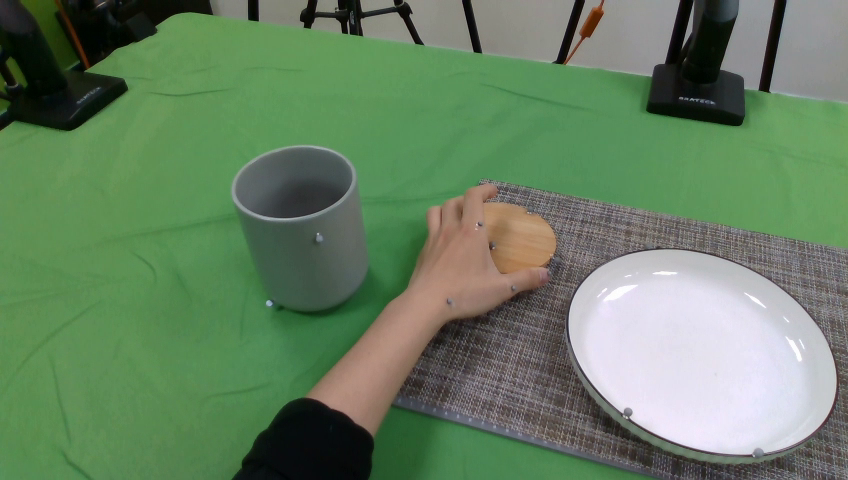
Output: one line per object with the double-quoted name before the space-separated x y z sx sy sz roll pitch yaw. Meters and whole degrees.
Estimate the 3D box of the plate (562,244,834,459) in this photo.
"plate" 0.218 0.088 0.503 0.208 0.039 0.205 -1 44 1

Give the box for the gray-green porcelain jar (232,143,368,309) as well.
"gray-green porcelain jar" -0.108 -0.007 0.555 0.106 0.127 0.105 -1 44 1

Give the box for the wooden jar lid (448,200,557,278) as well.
"wooden jar lid" 0.077 0.000 0.607 0.108 0.021 0.107 3 41 -3
